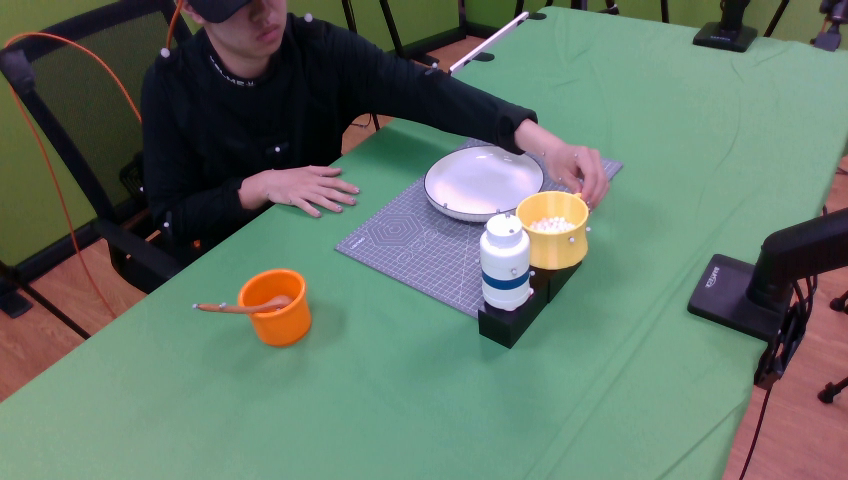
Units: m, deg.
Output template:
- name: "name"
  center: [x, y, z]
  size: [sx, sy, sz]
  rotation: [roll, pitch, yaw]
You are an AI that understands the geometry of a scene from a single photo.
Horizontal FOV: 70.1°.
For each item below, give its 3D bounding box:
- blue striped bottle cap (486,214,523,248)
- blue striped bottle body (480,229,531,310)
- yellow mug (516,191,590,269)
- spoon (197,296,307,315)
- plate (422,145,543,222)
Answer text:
- name: "blue striped bottle cap"
  center: [0.098, -0.011, 0.735]
  size: [0.044, 0.021, 0.044]
  rotation: [-3, 38, 3]
- name: "blue striped bottle body"
  center: [0.104, 0.027, 0.769]
  size: [0.063, 0.121, 0.063]
  rotation: [-4, 41, 4]
- name: "yellow mug"
  center: [0.192, -0.023, 0.856]
  size: [0.131, 0.064, 0.099]
  rotation: [-36, 45, -29]
- name: "spoon"
  center: [-0.220, 0.088, 0.792]
  size: [0.041, 0.021, 0.195]
  rotation: [20, 7, 25]
- name: "plate"
  center: [0.101, -0.094, 1.048]
  size: [0.207, 0.039, 0.206]
  rotation: [-4, 41, 4]
